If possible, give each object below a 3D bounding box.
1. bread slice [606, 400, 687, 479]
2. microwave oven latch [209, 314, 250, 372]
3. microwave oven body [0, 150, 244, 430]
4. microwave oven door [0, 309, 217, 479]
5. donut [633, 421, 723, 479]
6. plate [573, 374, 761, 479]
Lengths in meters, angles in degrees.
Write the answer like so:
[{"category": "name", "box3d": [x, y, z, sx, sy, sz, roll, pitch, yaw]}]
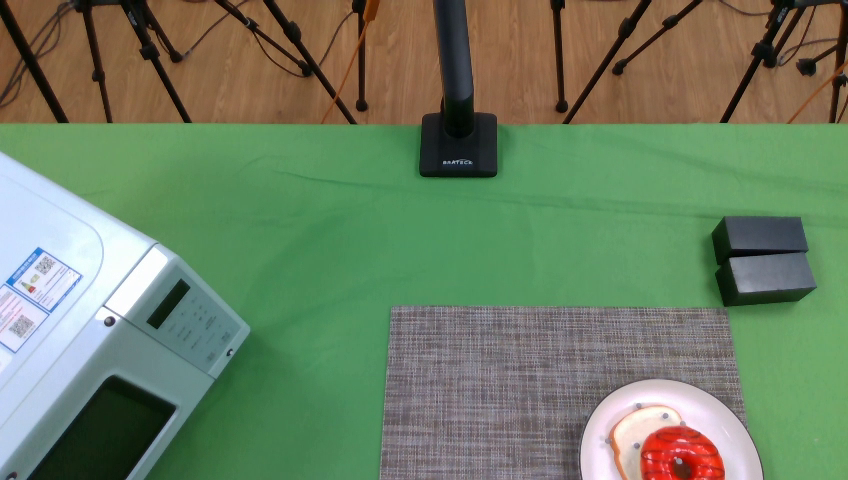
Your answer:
[{"category": "bread slice", "box3d": [0.277, 0.258, 0.715, 0.105, 0.019, 0.130, -19, 66, -7]}, {"category": "microwave oven latch", "box3d": [-0.261, 0.131, 0.793, 0.030, 0.030, 0.079, 29, 70, 16]}, {"category": "microwave oven body", "box3d": [-0.485, 0.165, 0.683, 0.324, 0.262, 0.440, 27, 69, 15]}, {"category": "microwave oven door", "box3d": [-0.380, 0.258, 0.625, 0.039, 0.246, 0.354, 26, 68, 16]}, {"category": "donut", "box3d": [0.286, 0.255, 0.683, 0.099, 0.048, 0.098, 0, 65, 0]}, {"category": "plate", "box3d": [0.279, 0.264, 0.710, 0.207, 0.039, 0.206, -1, 64, 3]}]
